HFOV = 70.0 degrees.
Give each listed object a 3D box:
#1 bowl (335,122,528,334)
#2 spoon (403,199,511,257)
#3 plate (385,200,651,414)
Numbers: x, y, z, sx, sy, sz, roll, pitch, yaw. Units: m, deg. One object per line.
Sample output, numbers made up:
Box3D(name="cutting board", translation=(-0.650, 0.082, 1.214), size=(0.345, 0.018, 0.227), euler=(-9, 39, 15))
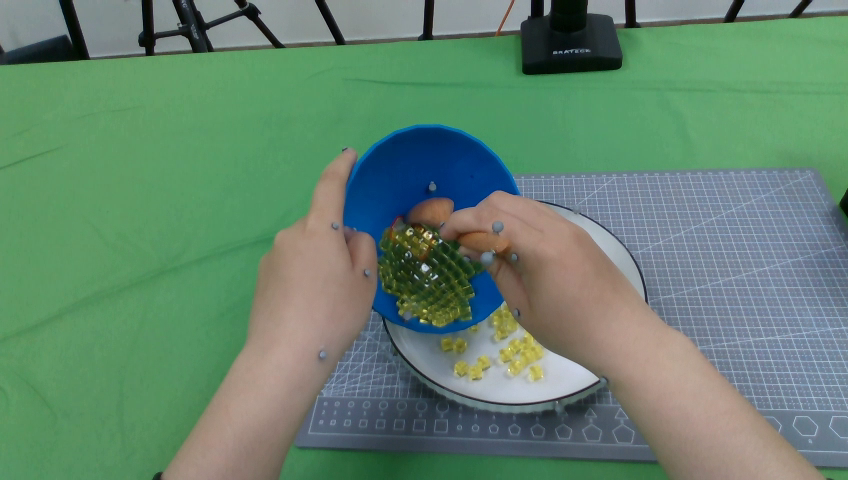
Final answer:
Box3D(name="bowl", translation=(-0.005, -0.006, 0.460), size=(0.151, 0.152, 0.076), euler=(-36, 12, -24))
Box3D(name="spoon", translation=(0.021, -0.008, 0.386), size=(0.041, 0.022, 0.192), euler=(-19, 15, -10))
Box3D(name="plate", translation=(0.072, 0.050, 0.490), size=(0.207, 0.039, 0.205), euler=(-4, 46, 5))
